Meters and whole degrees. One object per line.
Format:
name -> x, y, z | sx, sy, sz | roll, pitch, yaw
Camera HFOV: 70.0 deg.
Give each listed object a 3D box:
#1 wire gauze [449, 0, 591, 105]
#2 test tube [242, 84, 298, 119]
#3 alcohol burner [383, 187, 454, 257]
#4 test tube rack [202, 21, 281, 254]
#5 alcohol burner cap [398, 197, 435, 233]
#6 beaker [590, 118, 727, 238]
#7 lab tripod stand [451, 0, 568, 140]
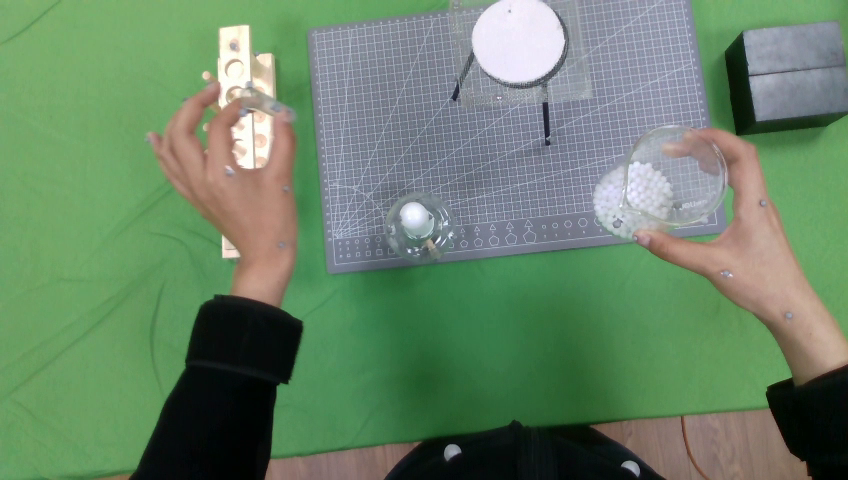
wire gauze -> 0.089, -0.190, 0.573 | 0.125, 0.011, 0.121 | -5, 84, 4
test tube -> -0.126, -0.115, 0.510 | 0.017, 0.150, 0.017 | 0, 97, -2
alcohol burner -> -0.007, -0.022, 0.639 | 0.078, 0.119, 0.077 | 0, 83, 4
test tube rack -> -0.210, -0.110, 0.682 | 0.067, 0.085, 0.241 | -4, 84, 5
alcohol burner cap -> -0.010, -0.026, 0.604 | 0.034, 0.048, 0.033 | -2, 80, 10
beaker -> 0.176, -0.041, 0.480 | 0.084, 0.100, 0.074 | -32, 84, -5
lab tripod stand -> 0.098, -0.187, 0.639 | 0.148, 0.132, 0.148 | -1, 82, 6
